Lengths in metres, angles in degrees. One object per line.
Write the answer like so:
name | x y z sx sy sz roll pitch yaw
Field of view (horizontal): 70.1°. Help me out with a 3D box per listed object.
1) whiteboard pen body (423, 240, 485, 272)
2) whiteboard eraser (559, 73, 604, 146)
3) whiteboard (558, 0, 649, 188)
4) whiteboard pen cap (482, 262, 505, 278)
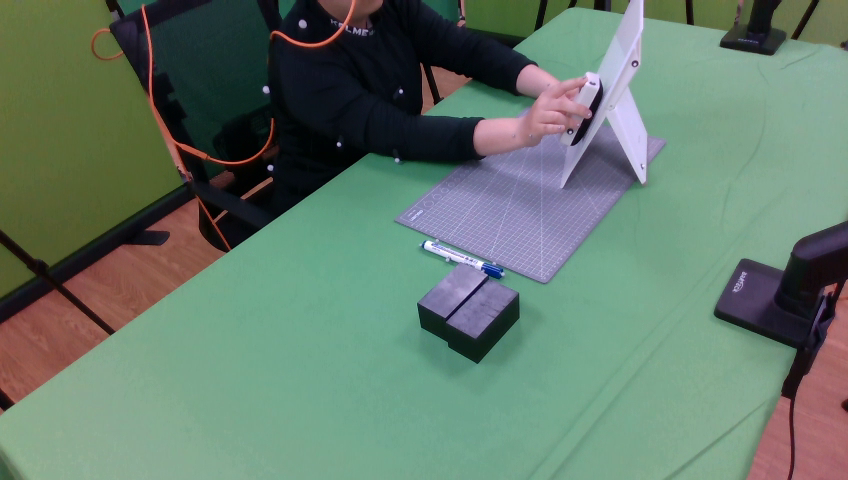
whiteboard pen body | 0.057 0.027 0.942 0.139 0.017 0.017 22 48 30
whiteboard eraser | 0.259 -0.212 0.990 0.042 0.113 0.055 21 42 3
whiteboard | 0.361 -0.238 1.026 0.144 0.306 0.217 20 44 3
whiteboard pen cap | 0.104 0.045 0.912 0.033 0.018 0.018 21 48 29
